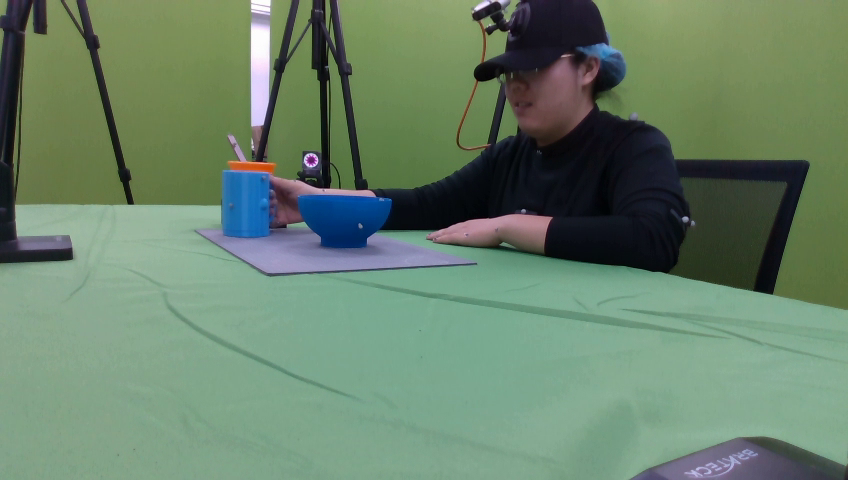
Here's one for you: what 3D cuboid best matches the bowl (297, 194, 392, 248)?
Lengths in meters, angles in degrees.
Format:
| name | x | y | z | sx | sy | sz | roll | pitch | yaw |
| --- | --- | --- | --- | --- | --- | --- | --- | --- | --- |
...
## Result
| name | x | y | z | sx | sy | sz | roll | pitch | yaw |
| --- | --- | --- | --- | --- | --- | --- | --- | --- | --- |
| bowl | -0.127 | -0.030 | 0.964 | 0.151 | 0.077 | 0.151 | 3 | 7 | 0 |

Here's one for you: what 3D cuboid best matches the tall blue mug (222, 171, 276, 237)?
| name | x | y | z | sx | sy | sz | roll | pitch | yaw |
| --- | --- | --- | --- | --- | --- | --- | --- | --- | --- |
| tall blue mug | -0.303 | -0.064 | 1.043 | 0.078 | 0.108 | 0.107 | 1 | 7 | -4 |

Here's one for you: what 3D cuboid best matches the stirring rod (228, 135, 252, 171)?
| name | x | y | z | sx | sy | sz | roll | pitch | yaw |
| --- | --- | --- | --- | --- | --- | --- | --- | --- | --- |
| stirring rod | -0.352 | -0.147 | 1.198 | 0.014 | 0.006 | 0.175 | -6 | 53 | -44 |
